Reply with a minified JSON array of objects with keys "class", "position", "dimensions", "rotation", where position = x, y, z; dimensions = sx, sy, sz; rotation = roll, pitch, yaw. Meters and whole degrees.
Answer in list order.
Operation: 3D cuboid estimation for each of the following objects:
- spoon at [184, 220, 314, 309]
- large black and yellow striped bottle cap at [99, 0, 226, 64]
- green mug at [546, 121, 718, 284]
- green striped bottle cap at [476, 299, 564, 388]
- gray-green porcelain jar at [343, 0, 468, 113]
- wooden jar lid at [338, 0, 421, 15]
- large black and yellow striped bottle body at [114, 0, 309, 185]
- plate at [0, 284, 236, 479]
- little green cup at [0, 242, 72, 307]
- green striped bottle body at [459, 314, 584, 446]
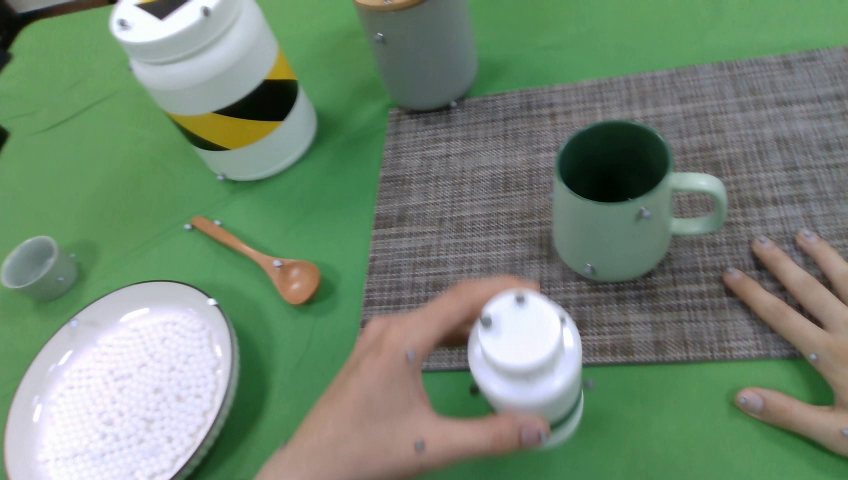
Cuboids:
[{"class":"spoon","position":[-0.172,0.015,0.578],"dimensions":[0.192,0.022,0.041],"rotation":[25,86,28]},{"class":"large black and yellow striped bottle cap","position":[-0.229,-0.200,0.532],"dimensions":[0.115,0.019,0.114],"rotation":[-7,55,10]},{"class":"green mug","position":[0.153,-0.025,0.457],"dimensions":[0.125,0.106,0.092],"rotation":[3,58,18]},{"class":"green striped bottle cap","position":[0.050,0.053,0.315],"dimensions":[0.044,0.020,0.044],"rotation":[-6,59,10]},{"class":"gray-green porcelain jar","position":[-0.014,-0.202,0.609],"dimensions":[0.106,0.128,0.105],"rotation":[-8,52,10]},{"class":"wooden jar lid","position":[-0.028,-0.239,0.560],"dimensions":[0.108,0.021,0.107],"rotation":[-9,54,14]},{"class":"large black and yellow striped bottle body","position":[-0.208,-0.157,0.601],"dimensions":[0.130,0.186,0.129],"rotation":[-7,56,11]},{"class":"plate","position":[-0.252,0.136,0.512],"dimensions":[0.209,0.038,0.207],"rotation":[-7,56,11]},{"class":"little green cup","position":[-0.395,0.037,0.617],"dimensions":[0.061,0.039,0.061],"rotation":[-7,56,11]},{"class":"green striped bottle body","position":[0.059,0.081,0.362],"dimensions":[0.063,0.120,0.062],"rotation":[-8,60,15]}]
